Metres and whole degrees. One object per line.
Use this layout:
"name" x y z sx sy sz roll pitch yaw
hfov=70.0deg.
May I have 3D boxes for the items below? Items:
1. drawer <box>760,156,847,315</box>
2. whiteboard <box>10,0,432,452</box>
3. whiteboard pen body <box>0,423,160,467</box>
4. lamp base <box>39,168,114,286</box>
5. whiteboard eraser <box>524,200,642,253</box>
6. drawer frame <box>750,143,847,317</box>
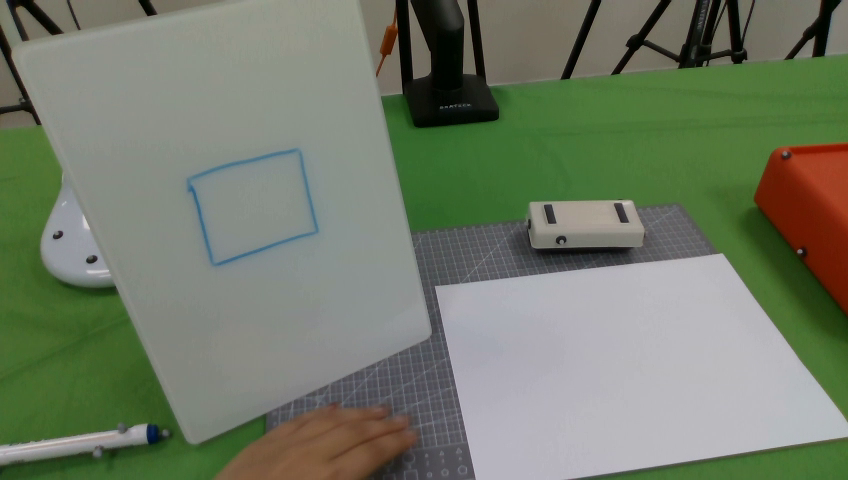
"drawer" 0.474 -0.003 0.585 0.195 0.074 0.209 -5 41 -3
"whiteboard" -0.144 -0.030 0.499 0.217 0.307 0.142 -21 26 -20
"whiteboard pen body" -0.276 0.157 0.458 0.141 0.017 0.017 -6 41 -11
"lamp base" -0.333 -0.072 0.601 0.178 0.182 0.160 21 46 27
"whiteboard eraser" 0.162 -0.013 0.627 0.113 0.042 0.055 -2 40 -1
"drawer frame" 0.473 -0.008 0.590 0.202 0.083 0.211 -6 41 -4
